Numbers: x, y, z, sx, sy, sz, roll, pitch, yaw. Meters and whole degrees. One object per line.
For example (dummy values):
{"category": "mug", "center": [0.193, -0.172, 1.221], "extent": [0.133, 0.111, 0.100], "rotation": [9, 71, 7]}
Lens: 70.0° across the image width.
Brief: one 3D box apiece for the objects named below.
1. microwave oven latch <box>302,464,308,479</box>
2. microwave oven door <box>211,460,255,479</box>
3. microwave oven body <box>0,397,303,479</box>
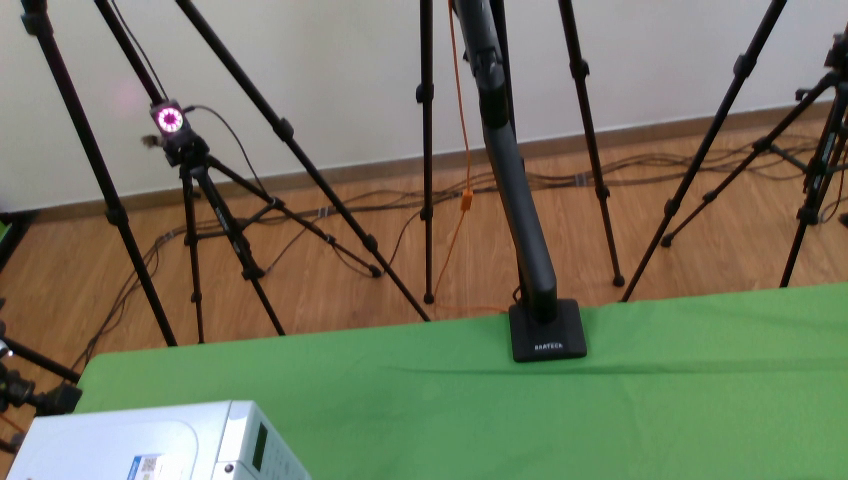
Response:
{"category": "microwave oven latch", "center": [-0.186, 0.366, 0.872], "extent": [0.030, 0.030, 0.078], "rotation": [-6, 47, 7]}
{"category": "microwave oven door", "center": [-0.206, 0.456, 0.651], "extent": [0.039, 0.246, 0.352], "rotation": [-7, 46, 7]}
{"category": "microwave oven body", "center": [-0.349, 0.447, 0.700], "extent": [0.326, 0.263, 0.437], "rotation": [-7, 47, 7]}
